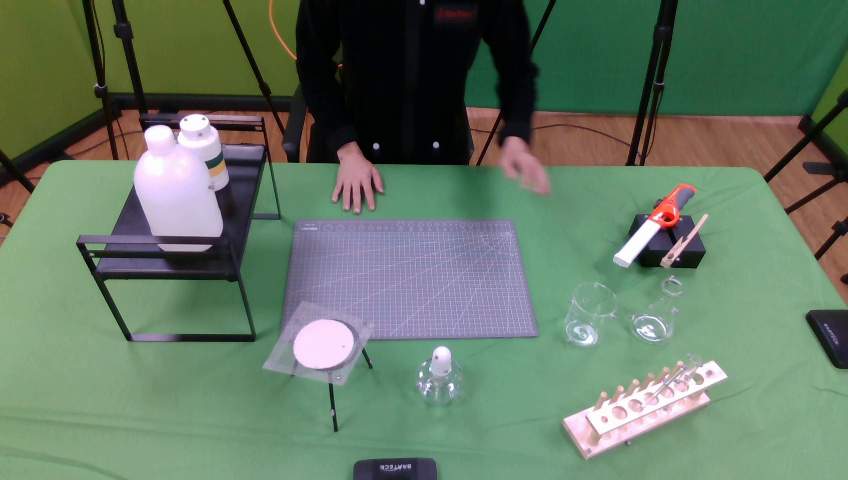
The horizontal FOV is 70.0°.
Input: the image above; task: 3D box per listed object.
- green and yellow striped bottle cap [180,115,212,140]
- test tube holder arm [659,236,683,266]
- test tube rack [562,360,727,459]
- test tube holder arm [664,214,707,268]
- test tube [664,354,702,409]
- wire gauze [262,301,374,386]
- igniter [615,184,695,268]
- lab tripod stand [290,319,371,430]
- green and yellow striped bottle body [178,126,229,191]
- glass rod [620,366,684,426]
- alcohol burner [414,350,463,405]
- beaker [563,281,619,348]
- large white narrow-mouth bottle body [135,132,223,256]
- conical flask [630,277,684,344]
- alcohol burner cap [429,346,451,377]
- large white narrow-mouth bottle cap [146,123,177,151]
[{"bbox_3d":[-0.358,-0.177,0.951,0.045,0.020,0.045,1,45,-1],"label":"green and yellow striped bottle cap"},{"bbox_3d":[0.472,0.020,1.149,0.010,0.015,0.088,35,54,27],"label":"test tube holder arm"},{"bbox_3d":[0.341,0.247,0.940,0.243,0.085,0.066,-16,49,-19],"label":"test tube rack"},{"bbox_3d":[0.507,-0.001,1.171,0.013,0.015,0.178,34,54,26],"label":"test tube holder arm"},{"bbox_3d":[0.384,0.214,0.907,0.017,0.151,0.017,-1,49,1],"label":"test tube"},{"bbox_3d":[-0.150,0.148,0.873,0.121,0.011,0.124,14,46,12],"label":"wire gauze"},{"bbox_3d":[0.459,-0.035,1.197,0.057,0.025,0.276,33,55,27],"label":"igniter"},{"bbox_3d":[-0.146,0.194,0.923,0.148,0.132,0.147,1,47,-1],"label":"lab tripod stand"},{"bbox_3d":[-0.361,-0.142,0.989,0.063,0.120,0.063,2,46,-2],"label":"green and yellow striped bottle body"},{"bbox_3d":[0.322,0.227,0.866,0.008,0.200,0.008,5,51,-7],"label":"glass rod"},{"bbox_3d":[0.023,0.205,0.939,0.078,0.120,0.077,1,48,-1],"label":"alcohol burner"},{"bbox_3d":[0.283,0.129,1.041,0.074,0.101,0.083,11,46,6],"label":"beaker"},{"bbox_3d":[-0.358,-0.075,0.874,0.102,0.195,0.101,2,44,-1],"label":"large white narrow-mouth bottle body"},{"bbox_3d":[0.408,0.117,1.045,0.075,0.122,0.075,2,46,-2],"label":"conical flask"},{"bbox_3d":[0.026,0.180,0.912,0.034,0.048,0.033,1,47,-1],"label":"alcohol burner cap"},{"bbox_3d":[-0.354,-0.138,0.815,0.038,0.024,0.037,2,44,-1],"label":"large white narrow-mouth bottle cap"}]
